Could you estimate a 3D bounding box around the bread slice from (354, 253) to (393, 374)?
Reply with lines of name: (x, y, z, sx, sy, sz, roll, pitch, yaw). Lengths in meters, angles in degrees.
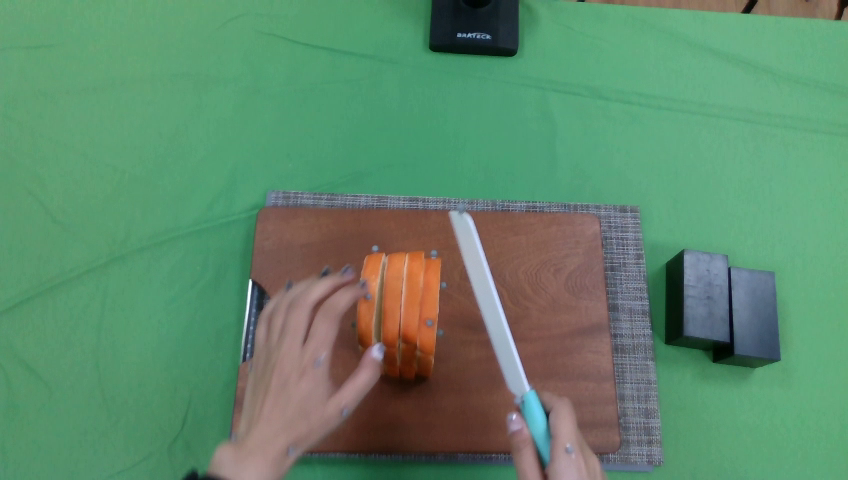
bread slice: (-0.049, 0.069, 0.600, 0.019, 0.132, 0.104, 2, 68, 5)

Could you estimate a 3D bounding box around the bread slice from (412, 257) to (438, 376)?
bread slice: (0.000, 0.075, 0.598, 0.018, 0.135, 0.106, 3, 74, -1)

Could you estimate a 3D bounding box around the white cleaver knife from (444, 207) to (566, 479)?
white cleaver knife: (0.071, 0.106, 0.494, 0.021, 0.065, 0.287, -19, 95, -9)
